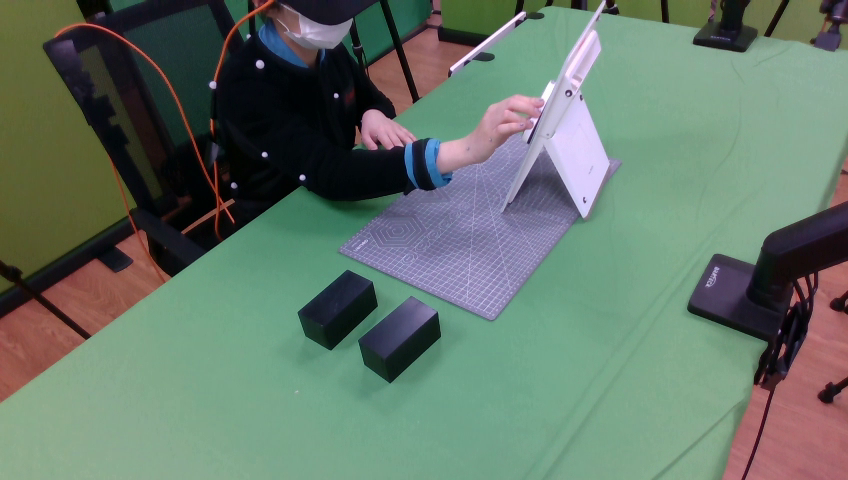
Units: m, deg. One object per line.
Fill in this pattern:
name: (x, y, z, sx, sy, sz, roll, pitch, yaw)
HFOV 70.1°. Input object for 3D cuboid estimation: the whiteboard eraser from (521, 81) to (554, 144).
whiteboard eraser: (0.174, -0.192, 0.916, 0.019, 0.041, 0.101, 27, 89, 9)

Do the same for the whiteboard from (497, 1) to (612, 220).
whiteboard: (0.260, -0.177, 0.963, 0.143, 0.306, 0.217, 28, 48, 9)
